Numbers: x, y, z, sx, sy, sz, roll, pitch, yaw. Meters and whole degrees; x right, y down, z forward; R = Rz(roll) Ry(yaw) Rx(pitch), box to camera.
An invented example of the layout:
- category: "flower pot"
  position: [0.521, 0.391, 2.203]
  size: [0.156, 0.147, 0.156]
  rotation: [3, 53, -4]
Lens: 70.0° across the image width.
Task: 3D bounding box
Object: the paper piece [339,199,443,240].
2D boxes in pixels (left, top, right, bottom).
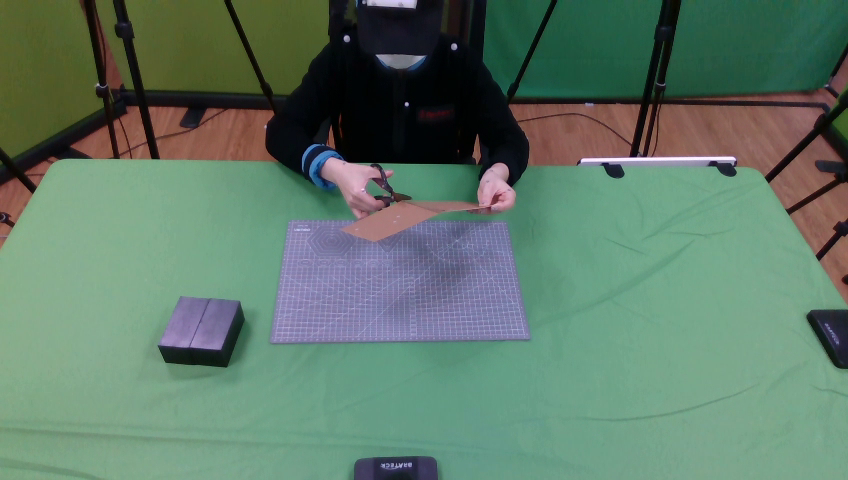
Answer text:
- category: "paper piece"
  position: [-0.058, -0.037, 1.013]
  size: [0.136, 0.004, 0.135]
  rotation: [-26, 23, -26]

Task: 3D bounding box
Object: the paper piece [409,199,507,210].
- category: "paper piece"
  position: [0.052, -0.065, 1.079]
  size: [0.138, 0.008, 0.135]
  rotation: [-3, 14, -32]

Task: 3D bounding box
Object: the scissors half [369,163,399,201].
- category: "scissors half"
  position: [-0.061, -0.096, 1.124]
  size: [0.013, 0.040, 0.174]
  rotation: [-19, 46, -23]

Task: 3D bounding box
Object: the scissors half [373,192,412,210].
- category: "scissors half"
  position: [-0.059, -0.073, 1.133]
  size: [0.013, 0.175, 0.040]
  rotation: [-15, 94, -25]
